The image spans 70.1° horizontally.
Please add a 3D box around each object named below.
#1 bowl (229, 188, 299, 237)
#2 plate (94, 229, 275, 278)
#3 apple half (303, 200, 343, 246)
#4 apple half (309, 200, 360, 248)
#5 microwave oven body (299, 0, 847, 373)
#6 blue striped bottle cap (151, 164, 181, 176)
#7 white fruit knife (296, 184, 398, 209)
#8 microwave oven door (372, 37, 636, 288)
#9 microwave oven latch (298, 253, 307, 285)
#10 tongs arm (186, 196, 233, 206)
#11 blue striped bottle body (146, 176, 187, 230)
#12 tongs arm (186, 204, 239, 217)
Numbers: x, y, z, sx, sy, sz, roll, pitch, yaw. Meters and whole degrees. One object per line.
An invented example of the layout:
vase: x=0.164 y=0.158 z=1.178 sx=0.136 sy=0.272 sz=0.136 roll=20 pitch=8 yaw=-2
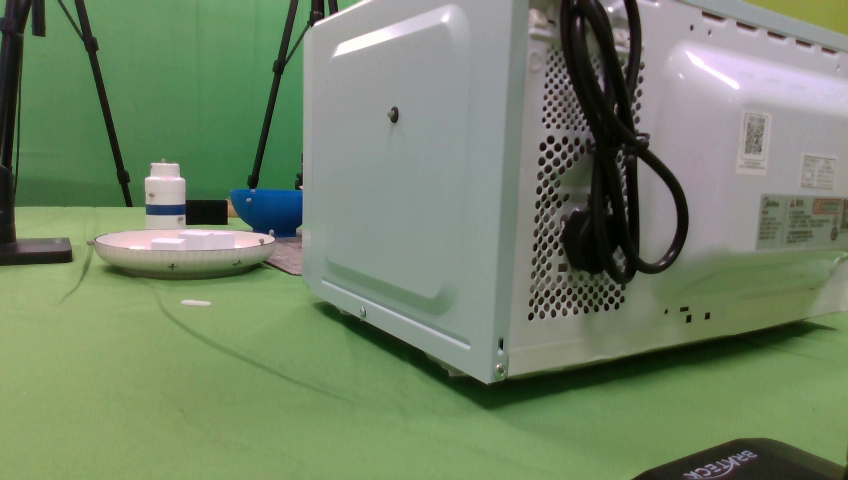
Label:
bowl: x=-0.265 y=-0.048 z=1.066 sx=0.151 sy=0.077 sz=0.151 roll=3 pitch=8 yaw=0
plate: x=-0.291 y=0.016 z=0.750 sx=0.208 sy=0.039 sz=0.207 roll=2 pitch=7 yaw=0
apple half: x=-0.168 y=-0.028 z=0.969 sx=0.032 sy=0.081 sz=0.082 roll=3 pitch=6 yaw=40
apple half: x=-0.133 y=-0.023 z=0.941 sx=0.081 sy=0.074 sz=0.053 roll=3 pitch=11 yaw=-45
microwave oven body: x=0.152 y=-0.055 z=0.542 sx=0.444 sy=0.260 sz=0.324 roll=-2 pitch=7 yaw=-33
blue striped bottle cap: x=-0.428 y=-0.116 z=1.002 sx=0.044 sy=0.020 sz=0.044 roll=1 pitch=6 yaw=0
white fruit knife: x=-0.121 y=-0.074 z=0.995 sx=0.208 sy=0.027 sz=0.016 roll=5 pitch=7 yaw=-45
microwave oven door: x=0.110 y=-0.080 z=0.686 sx=0.358 sy=0.243 sz=0.039 roll=-2 pitch=9 yaw=-33
microwave oven latch: x=-0.081 y=0.027 z=0.582 sx=0.079 sy=0.029 sz=0.030 roll=-2 pitch=7 yaw=-32
tongs arm: x=-0.404 y=-0.081 z=1.479 sx=0.385 sy=0.026 sz=0.050 roll=3 pitch=8 yaw=-2
blue striped bottle body: x=-0.430 y=-0.065 z=1.010 sx=0.063 sy=0.120 sz=0.063 roll=2 pitch=7 yaw=0
tongs arm: x=-0.396 y=-0.067 z=1.399 sx=0.389 sy=0.028 sz=0.028 roll=1 pitch=5 yaw=-15
